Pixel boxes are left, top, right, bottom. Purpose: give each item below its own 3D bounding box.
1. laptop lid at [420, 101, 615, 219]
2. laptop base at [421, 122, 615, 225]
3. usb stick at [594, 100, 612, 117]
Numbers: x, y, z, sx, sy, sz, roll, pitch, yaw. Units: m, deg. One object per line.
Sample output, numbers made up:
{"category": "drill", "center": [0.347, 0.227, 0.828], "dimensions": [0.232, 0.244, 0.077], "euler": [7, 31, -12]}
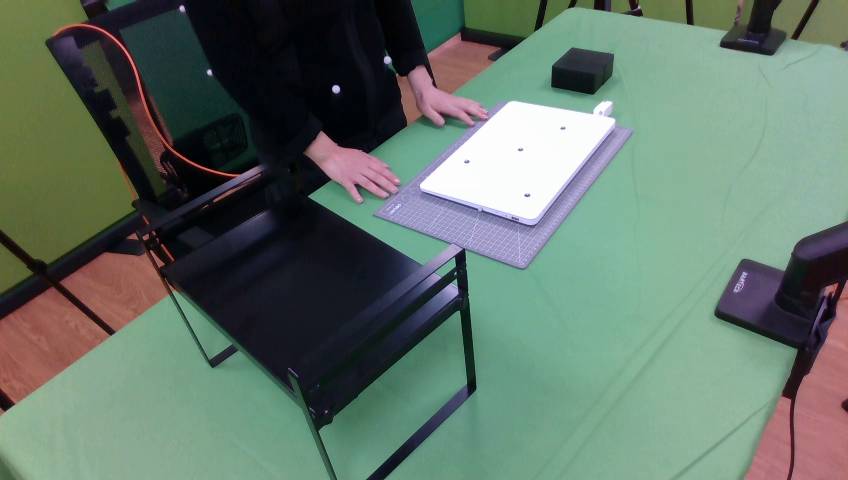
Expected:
{"category": "laptop lid", "center": [0.180, -0.166, 1.125], "dimensions": [0.240, 0.013, 0.357], "euler": [20, 47, 31]}
{"category": "laptop base", "center": [0.183, -0.156, 1.132], "dimensions": [0.234, 0.023, 0.355], "euler": [18, 47, 31]}
{"category": "usb stick", "center": [0.353, -0.254, 1.204], "dimensions": [0.021, 0.027, 0.059], "euler": [21, 47, 29]}
